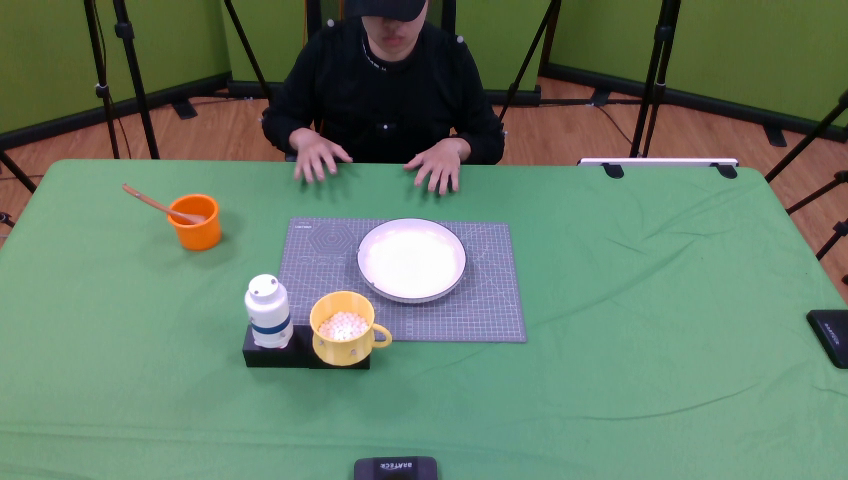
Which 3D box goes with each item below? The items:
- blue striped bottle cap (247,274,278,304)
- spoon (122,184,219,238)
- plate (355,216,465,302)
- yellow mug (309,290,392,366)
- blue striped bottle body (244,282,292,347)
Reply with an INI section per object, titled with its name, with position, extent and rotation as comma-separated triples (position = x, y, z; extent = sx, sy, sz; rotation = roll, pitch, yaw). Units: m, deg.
[blue striped bottle cap]
position = -0.239, 0.072, 0.900
extent = 0.044, 0.021, 0.044
rotation = 4, 46, -4
[spoon]
position = -0.463, -0.053, 1.118
extent = 0.195, 0.021, 0.041
rotation = 28, 37, -35
[plate]
position = -0.027, 0.039, 1.144
extent = 0.208, 0.039, 0.206
rotation = 2, 46, -2
[yellow mug]
position = -0.114, 0.141, 0.954
extent = 0.131, 0.064, 0.099
rotation = 12, 47, 6
[blue striped bottle body]
position = -0.241, 0.108, 0.937
extent = 0.063, 0.121, 0.062
rotation = 2, 46, -2
